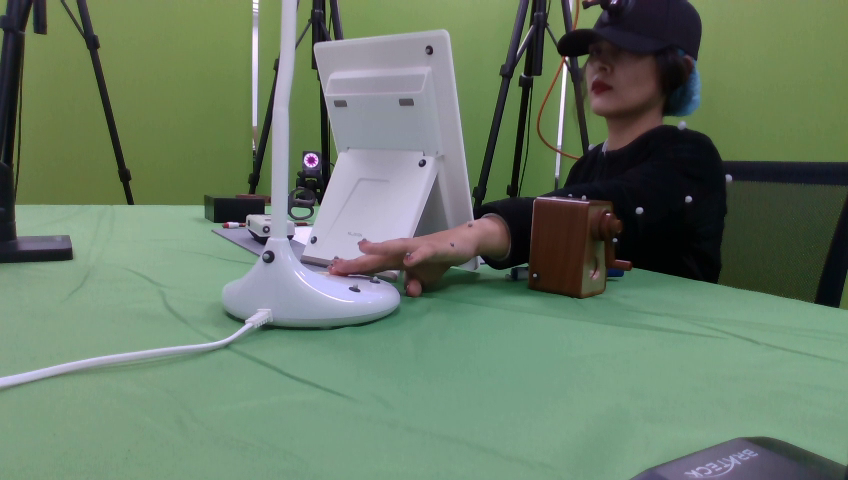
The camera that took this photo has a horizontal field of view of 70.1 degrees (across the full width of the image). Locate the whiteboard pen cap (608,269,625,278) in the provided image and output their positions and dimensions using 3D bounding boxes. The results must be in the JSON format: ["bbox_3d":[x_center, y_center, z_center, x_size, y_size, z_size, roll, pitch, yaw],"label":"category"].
[{"bbox_3d":[0.237,0.039,0.767,0.033,0.018,0.018,-1,8,-6],"label":"whiteboard pen cap"}]

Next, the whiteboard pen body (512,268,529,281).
[{"bbox_3d":[0.179,0.042,0.759,0.141,0.017,0.017,0,8,-9],"label":"whiteboard pen body"}]

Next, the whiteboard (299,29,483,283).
[{"bbox_3d":[-0.074,-0.082,0.742,0.216,0.305,0.144,9,29,37],"label":"whiteboard"}]

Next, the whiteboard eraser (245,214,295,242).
[{"bbox_3d":[-0.247,-0.018,0.965,0.056,0.042,0.112,0,7,-28],"label":"whiteboard eraser"}]

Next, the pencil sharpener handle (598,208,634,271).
[{"bbox_3d":[0.208,0.000,0.645,0.030,0.068,0.036,10,24,42],"label":"pencil sharpener handle"}]

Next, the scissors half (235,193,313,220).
[{"bbox_3d":[-0.325,-0.077,1.319,0.176,0.040,0.012,17,6,-31],"label":"scissors half"}]

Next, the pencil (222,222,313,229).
[{"bbox_3d":[-0.302,-0.030,1.189,0.195,0.012,0.012,-2,9,-42],"label":"pencil"}]

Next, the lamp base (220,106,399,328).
[{"bbox_3d":[-0.102,-0.023,0.531,0.160,0.180,0.179,4,10,10],"label":"lamp base"}]

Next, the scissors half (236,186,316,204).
[{"bbox_3d":[-0.320,-0.097,1.316,0.176,0.040,0.013,-3,11,-29],"label":"scissors half"}]

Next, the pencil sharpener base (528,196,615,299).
[{"bbox_3d":[0.167,0.007,0.677,0.076,0.107,0.062,10,10,42],"label":"pencil sharpener base"}]
